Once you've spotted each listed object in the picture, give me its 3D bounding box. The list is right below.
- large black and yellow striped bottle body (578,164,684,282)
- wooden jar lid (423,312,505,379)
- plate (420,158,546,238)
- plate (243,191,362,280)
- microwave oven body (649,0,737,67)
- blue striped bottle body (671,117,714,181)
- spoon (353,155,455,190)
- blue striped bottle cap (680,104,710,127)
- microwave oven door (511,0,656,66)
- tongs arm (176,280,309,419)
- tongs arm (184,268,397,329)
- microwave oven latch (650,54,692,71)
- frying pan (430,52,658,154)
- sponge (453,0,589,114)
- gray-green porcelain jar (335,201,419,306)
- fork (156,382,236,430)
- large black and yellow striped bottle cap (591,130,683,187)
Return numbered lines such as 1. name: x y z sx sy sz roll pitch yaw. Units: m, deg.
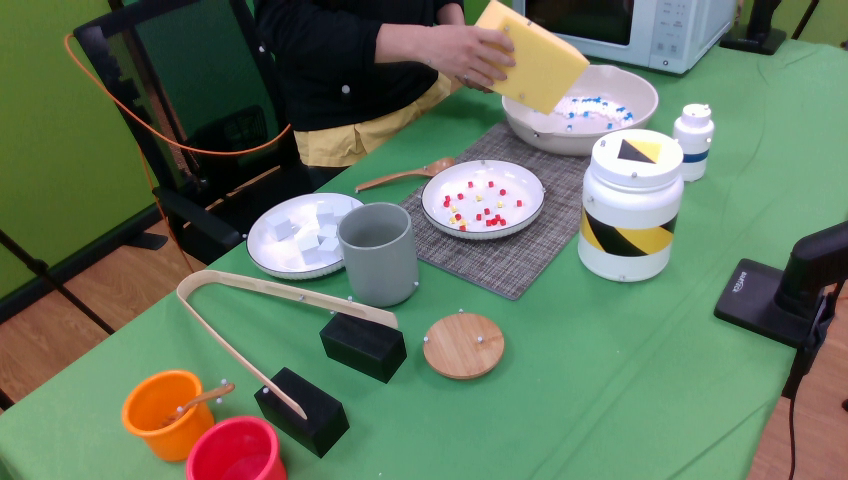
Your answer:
1. large black and yellow striped bottle body: 0.291 -0.046 0.859 0.131 0.185 0.130 -4 41 4
2. wooden jar lid: 0.053 0.142 0.800 0.108 0.021 0.108 -5 39 4
3. plate: 0.099 -0.067 1.017 0.209 0.038 0.208 -4 40 4
4. plate: -0.188 -0.005 0.992 0.207 0.039 0.206 -4 41 4
5. microwave oven body: 0.475 -0.602 1.411 0.438 0.261 0.327 23 50 32
6. blue striped bottle body: 0.449 -0.165 1.022 0.063 0.121 0.063 -5 41 4
7. spoon: -0.038 -0.123 1.116 0.194 0.022 0.041 -12 58 -4
8. blue striped bottle cap: 0.443 -0.205 0.989 0.044 0.021 0.044 -1 41 2
9. microwave oven door: 0.351 -0.539 1.349 0.353 0.245 0.039 24 50 31
10. tongs arm: -0.254 0.133 0.801 0.028 0.028 0.384 -41 40 -23
11. tongs arm: -0.202 0.084 0.848 0.382 0.027 0.051 11 45 35
12. microwave oven latch: 0.531 -0.386 1.301 0.078 0.029 0.030 24 50 32
13. frying pan: 0.216 -0.302 1.224 0.484 0.103 0.308 29 49 24
14. sponge: 0.170 -0.312 1.048 0.209 0.118 0.060 14 36 -35
15. gray-green porcelain jar: -0.064 0.024 0.872 0.106 0.127 0.105 -4 41 4
16. fork: -0.262 0.189 0.690 0.018 0.206 0.028 49 43 -7
17. large black and yellow striped bottle cap: 0.282 -0.111 0.803 0.115 0.019 0.114 -3 41 3
